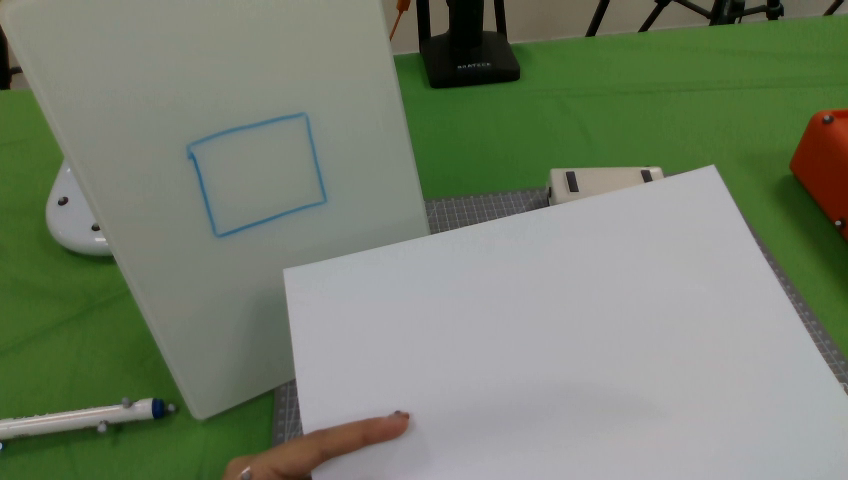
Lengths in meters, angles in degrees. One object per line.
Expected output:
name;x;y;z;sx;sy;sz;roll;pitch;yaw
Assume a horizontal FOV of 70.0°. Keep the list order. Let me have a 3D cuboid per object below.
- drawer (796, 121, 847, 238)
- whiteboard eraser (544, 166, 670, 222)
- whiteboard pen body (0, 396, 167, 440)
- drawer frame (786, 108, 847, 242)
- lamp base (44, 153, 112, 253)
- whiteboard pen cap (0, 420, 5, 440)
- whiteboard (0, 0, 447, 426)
drawer;0.488;-0.030;0.545;0.194;0.074;0.209;-5;44;-1
whiteboard eraser;0.177;-0.044;0.595;0.113;0.042;0.055;-1;43;1
whiteboard pen body;-0.266;0.134;0.450;0.141;0.017;0.017;-6;45;-9
drawer frame;0.487;-0.035;0.550;0.202;0.083;0.211;-6;44;-2
lamp base;-0.318;-0.104;0.579;0.178;0.182;0.160;23;50;27
whiteboard pen cap;-0.325;0.141;0.441;0.033;0.018;0.018;-5;44;-11
whiteboard;-0.132;-0.054;0.475;0.217;0.308;0.142;-22;29;-17
